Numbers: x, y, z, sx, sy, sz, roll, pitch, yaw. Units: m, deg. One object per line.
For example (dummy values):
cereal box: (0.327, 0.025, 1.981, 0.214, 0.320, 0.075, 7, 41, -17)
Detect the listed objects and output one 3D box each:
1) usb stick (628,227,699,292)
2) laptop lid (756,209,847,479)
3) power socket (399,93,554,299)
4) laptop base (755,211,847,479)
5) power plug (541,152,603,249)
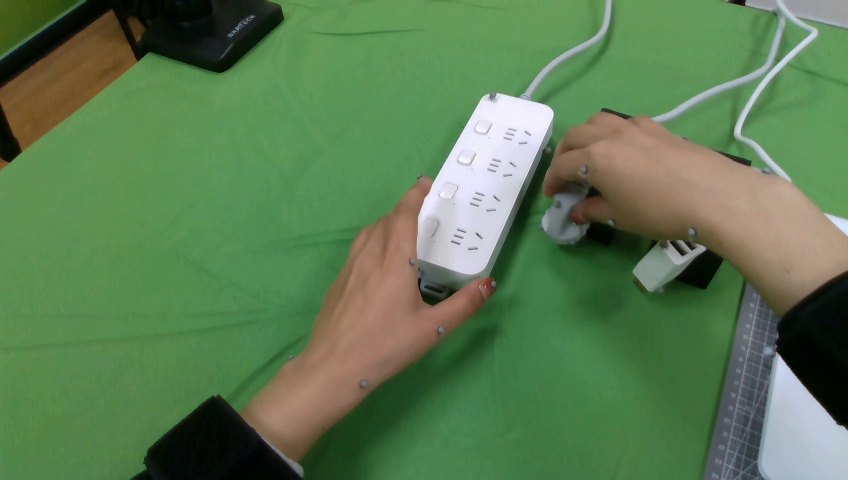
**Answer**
usb stick: (0.163, 0.017, 0.422, 0.027, 0.059, 0.021, -28, 68, -22)
laptop lid: (0.407, 0.115, 0.378, 0.355, 0.013, 0.240, 22, 58, 17)
power socket: (0.050, -0.048, 0.514, 0.072, 0.033, 0.225, 19, 54, 14)
laptop base: (0.409, 0.121, 0.388, 0.352, 0.023, 0.234, 20, 58, 16)
power plug: (0.123, -0.025, 0.470, 0.072, 0.053, 0.035, -38, 56, -9)
